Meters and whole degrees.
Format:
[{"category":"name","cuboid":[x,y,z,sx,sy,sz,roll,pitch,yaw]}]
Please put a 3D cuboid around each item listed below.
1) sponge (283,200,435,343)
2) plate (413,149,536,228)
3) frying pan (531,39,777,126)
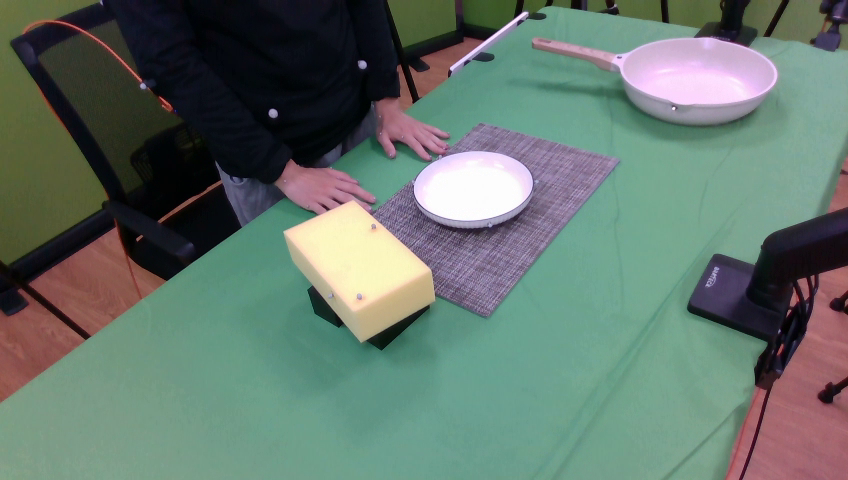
[{"category":"sponge","cuboid":[-0.094,0.036,0.835,0.119,0.061,0.205,-29,45,-23]},{"category":"plate","cuboid":[0.086,-0.085,1.038,0.207,0.039,0.206,-4,40,4]},{"category":"frying pan","cuboid":[0.452,-0.354,1.254,0.485,0.103,0.307,22,47,19]}]
